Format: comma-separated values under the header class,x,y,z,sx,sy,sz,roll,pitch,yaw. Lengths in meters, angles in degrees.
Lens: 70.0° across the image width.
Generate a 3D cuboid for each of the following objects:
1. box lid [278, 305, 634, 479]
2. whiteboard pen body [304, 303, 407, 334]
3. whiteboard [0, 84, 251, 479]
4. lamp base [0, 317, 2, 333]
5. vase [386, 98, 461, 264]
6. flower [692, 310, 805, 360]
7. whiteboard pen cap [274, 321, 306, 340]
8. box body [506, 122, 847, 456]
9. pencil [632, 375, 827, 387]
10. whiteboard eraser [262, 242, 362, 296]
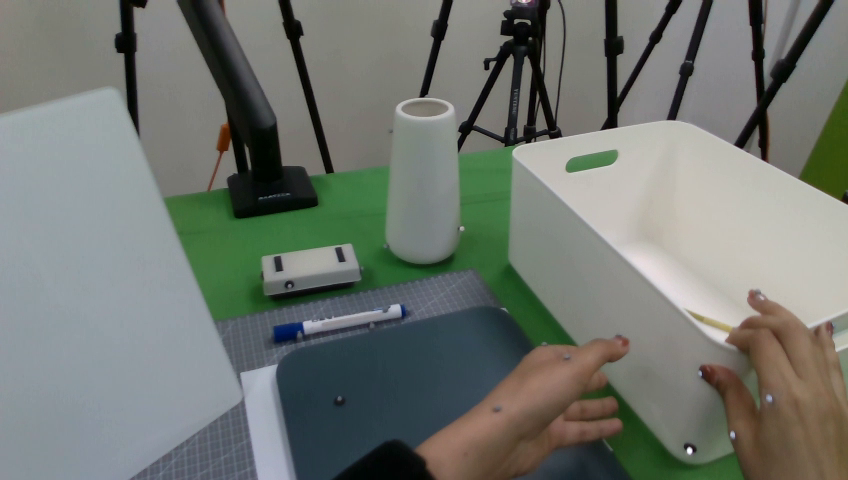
class,x,y,z,sx,sy,sz,roll,pitch,yaw
box lid,0.029,0.193,0.520,0.264,0.015,0.367,-11,35,-17
whiteboard pen body,-0.087,0.088,0.668,0.141,0.017,0.017,-9,35,-14
whiteboard,-0.320,0.054,0.506,0.143,0.307,0.217,6,29,44
lamp base,-0.534,0.044,0.576,0.178,0.182,0.160,11,35,19
vase,0.002,-0.069,0.749,0.098,0.201,0.097,2,33,-1
flower,0.284,0.071,0.695,0.358,0.038,0.044,27,36,30
whiteboard pen cap,-0.144,0.097,0.653,0.033,0.018,0.018,-6,34,-16
box body,0.272,0.024,0.648,0.255,0.162,0.360,-13,35,-17
pencil,0.302,0.140,0.598,0.194,0.012,0.012,0,33,-1
whiteboard eraser,-0.135,0.036,0.727,0.113,0.042,0.055,-10,33,-15
